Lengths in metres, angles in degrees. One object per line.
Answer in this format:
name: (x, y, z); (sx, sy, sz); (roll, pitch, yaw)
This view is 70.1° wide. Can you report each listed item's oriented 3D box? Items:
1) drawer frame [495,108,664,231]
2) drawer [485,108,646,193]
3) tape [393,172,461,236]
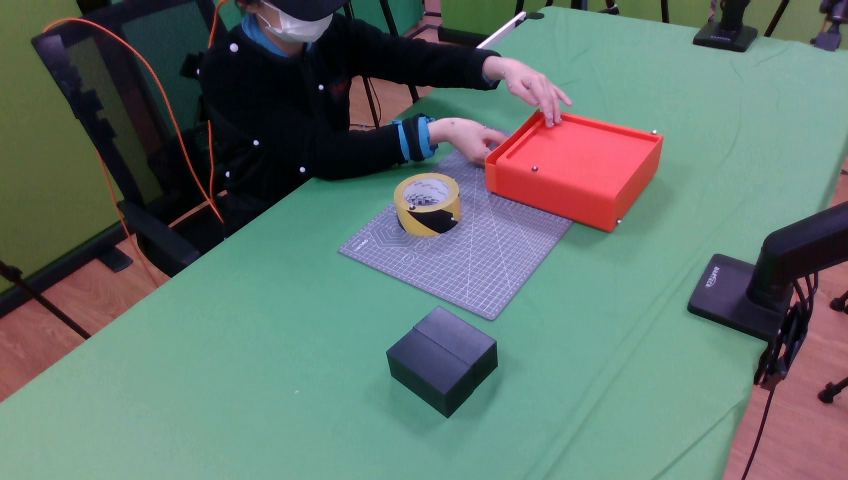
drawer frame: (0.262, -0.127, 1.028); (0.212, 0.083, 0.202); (22, 48, 29)
drawer: (0.242, -0.134, 1.039); (0.210, 0.073, 0.195); (22, 48, 30)
tape: (0.005, -0.061, 1.011); (0.117, 0.053, 0.116); (-4, 40, 4)
